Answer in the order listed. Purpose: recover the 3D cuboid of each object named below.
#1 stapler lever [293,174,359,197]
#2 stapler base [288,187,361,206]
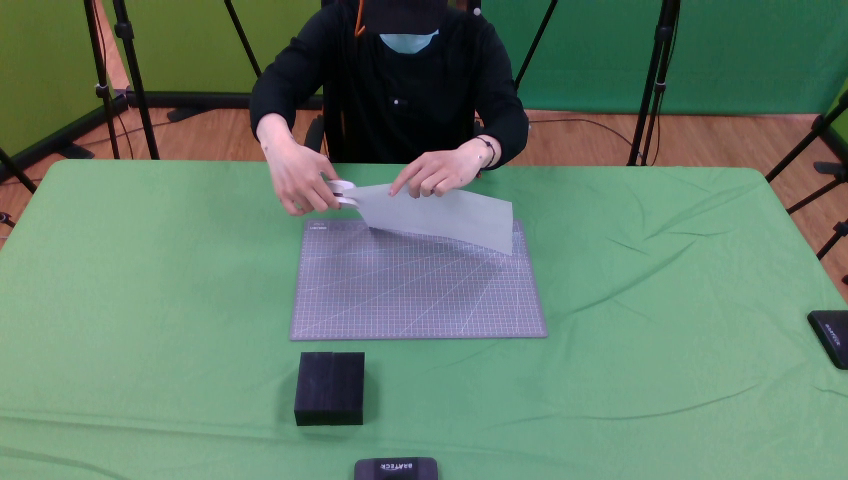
[{"bbox_3d":[-0.172,-0.102,1.075,0.118,0.027,0.040,10,83,14],"label":"stapler lever"},{"bbox_3d":[-0.174,-0.081,1.073,0.130,0.041,0.024,6,82,13],"label":"stapler base"}]
